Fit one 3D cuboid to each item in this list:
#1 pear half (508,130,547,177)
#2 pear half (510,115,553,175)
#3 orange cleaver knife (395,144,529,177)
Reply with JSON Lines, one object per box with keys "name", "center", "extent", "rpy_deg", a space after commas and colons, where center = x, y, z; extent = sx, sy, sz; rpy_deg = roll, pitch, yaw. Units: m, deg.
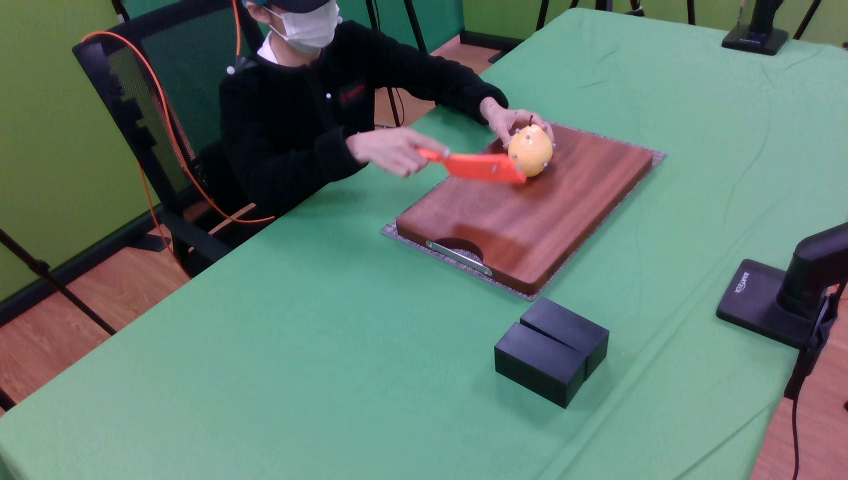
{"name": "pear half", "center": [0.171, -0.141, 1.020], "extent": [0.070, 0.088, 0.031], "rpy_deg": [17, 47, 19]}
{"name": "pear half", "center": [0.187, -0.170, 1.035], "extent": [0.076, 0.110, 0.056], "rpy_deg": [18, 47, 19]}
{"name": "orange cleaver knife", "center": [0.057, -0.122, 0.938], "extent": [0.210, 0.078, 0.012], "rpy_deg": [9, 66, 25]}
